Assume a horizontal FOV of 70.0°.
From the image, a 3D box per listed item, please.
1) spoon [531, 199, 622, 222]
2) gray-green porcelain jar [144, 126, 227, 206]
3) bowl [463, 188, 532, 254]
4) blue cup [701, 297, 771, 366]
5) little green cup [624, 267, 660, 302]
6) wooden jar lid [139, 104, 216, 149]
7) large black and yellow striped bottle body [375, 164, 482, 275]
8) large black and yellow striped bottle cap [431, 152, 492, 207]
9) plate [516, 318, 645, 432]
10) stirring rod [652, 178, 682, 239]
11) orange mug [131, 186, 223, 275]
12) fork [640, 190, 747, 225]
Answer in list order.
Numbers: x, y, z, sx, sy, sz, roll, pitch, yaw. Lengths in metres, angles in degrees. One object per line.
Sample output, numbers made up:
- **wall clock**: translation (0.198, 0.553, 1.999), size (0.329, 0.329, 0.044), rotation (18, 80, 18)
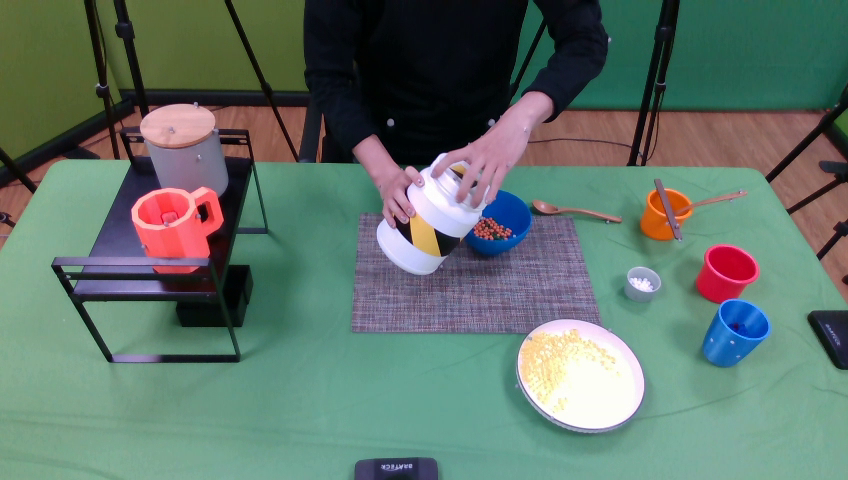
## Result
- **spoon**: translation (0.321, -0.060, 1.279), size (0.194, 0.022, 0.041), rotation (8, 33, 5)
- **gray-green porcelain jar**: translation (-0.375, -0.125, 0.967), size (0.106, 0.127, 0.105), rotation (2, 46, -2)
- **bowl**: translation (0.130, -0.025, 1.186), size (0.151, 0.077, 0.150), rotation (3, 46, -2)
- **blue cup**: translation (0.519, 0.162, 1.025), size (0.093, 0.101, 0.092), rotation (3, 45, -3)
- **little green cup**: translation (0.406, 0.084, 1.135), size (0.061, 0.039, 0.061), rotation (3, 46, -3)
- **wooden jar lid**: translation (-0.372, -0.169, 0.920), size (0.108, 0.021, 0.107), rotation (4, 44, -4)
- **large black and yellow striped bottle body**: translation (0.016, -0.043, 1.041), size (0.131, 0.184, 0.130), rotation (29, 31, -19)
- **large black and yellow striped bottle cap**: translation (0.062, -0.101, 1.000), size (0.115, 0.019, 0.114), rotation (30, 29, -19)
- **plate**: translation (0.253, 0.221, 0.992), size (0.209, 0.038, 0.208), rotation (2, 46, -2)
- **stirring rod**: translation (0.481, -0.065, 1.204), size (0.014, 0.006, 0.175), rotation (2, 46, -1)
- **orange mug**: translation (-0.354, -0.023, 0.887), size (0.083, 0.101, 0.126), rotation (31, 56, 24)
- **fork**: translation (0.533, -0.064, 1.211), size (0.207, 0.019, 0.028), rotation (-22, 28, 38)
